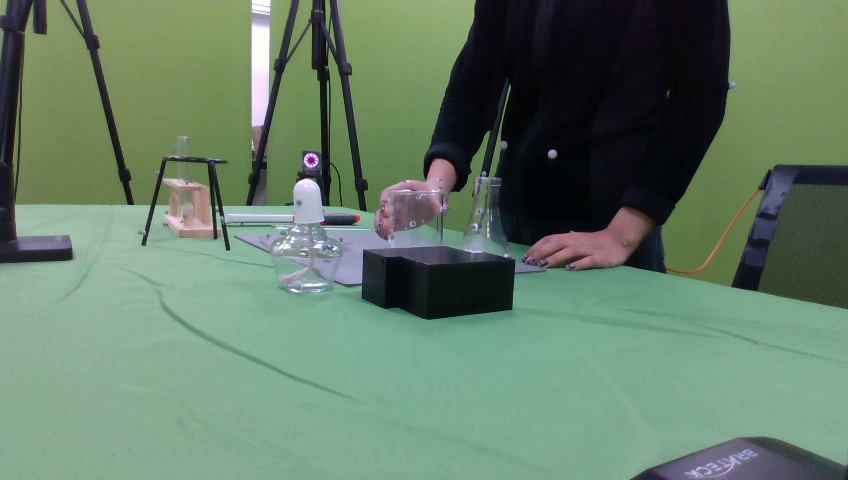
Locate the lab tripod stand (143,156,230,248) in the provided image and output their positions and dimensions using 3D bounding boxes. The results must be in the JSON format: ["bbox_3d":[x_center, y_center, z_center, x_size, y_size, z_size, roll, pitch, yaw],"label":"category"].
[{"bbox_3d":[-0.338,-0.058,0.908,0.148,0.131,0.148,4,7,0],"label":"lab tripod stand"}]

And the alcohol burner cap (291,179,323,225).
[{"bbox_3d":[-0.124,-0.040,0.632,0.034,0.048,0.034,-3,10,1],"label":"alcohol burner cap"}]

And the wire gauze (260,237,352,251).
[{"bbox_3d":[-0.185,0.004,0.938,0.122,0.011,0.124,-1,6,-24],"label":"wire gauze"}]

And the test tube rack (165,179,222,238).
[{"bbox_3d":[-0.423,-0.062,1.098,0.067,0.085,0.241,-2,9,-28],"label":"test tube rack"}]

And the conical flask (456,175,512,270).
[{"bbox_3d":[0.082,-0.025,0.801,0.075,0.122,0.075,2,7,0],"label":"conical flask"}]

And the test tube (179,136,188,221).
[{"bbox_3d":[-0.425,-0.108,1.070,0.017,0.150,0.017,4,9,0],"label":"test tube"}]

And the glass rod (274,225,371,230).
[{"bbox_3d":[-0.193,-0.024,1.177,0.201,0.008,0.008,1,7,-31],"label":"glass rod"}]

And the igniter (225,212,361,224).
[{"bbox_3d":[-0.262,-0.044,1.240,0.278,0.025,0.057,-2,-1,-31],"label":"igniter"}]

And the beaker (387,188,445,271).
[{"bbox_3d":[-0.010,-0.016,0.770,0.074,0.100,0.084,2,7,5],"label":"beaker"}]

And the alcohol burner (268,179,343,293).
[{"bbox_3d":[-0.124,-0.005,0.637,0.078,0.119,0.078,4,8,0],"label":"alcohol burner"}]
